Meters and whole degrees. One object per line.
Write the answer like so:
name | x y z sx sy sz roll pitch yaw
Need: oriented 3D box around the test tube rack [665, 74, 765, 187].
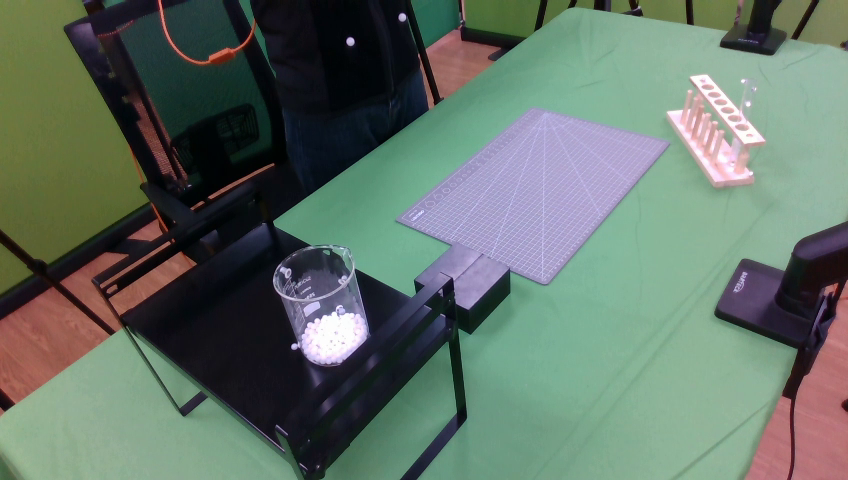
test tube rack | 0.512 -0.201 1.082 0.067 0.085 0.241 -6 41 2

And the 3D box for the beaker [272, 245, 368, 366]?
beaker | -0.093 0.064 0.578 0.073 0.101 0.084 21 48 29

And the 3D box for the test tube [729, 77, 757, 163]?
test tube | 0.525 -0.195 0.997 0.017 0.151 0.017 -4 36 4
